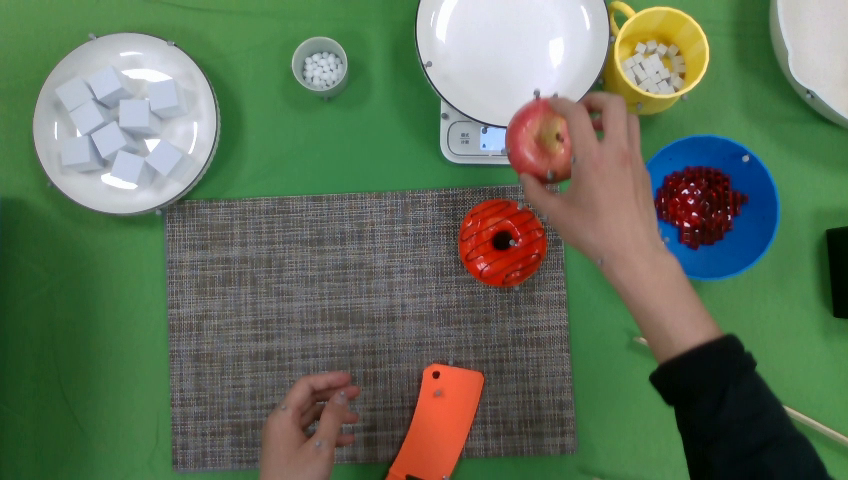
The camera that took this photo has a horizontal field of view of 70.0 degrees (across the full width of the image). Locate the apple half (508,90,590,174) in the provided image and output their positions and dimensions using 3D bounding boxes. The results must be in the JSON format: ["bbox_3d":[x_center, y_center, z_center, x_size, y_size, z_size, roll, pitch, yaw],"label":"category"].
[{"bbox_3d":[0.122,-0.106,0.559,0.053,0.075,0.080,-44,87,5],"label":"apple half"}]

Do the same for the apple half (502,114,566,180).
[{"bbox_3d":[0.095,-0.079,0.564,0.033,0.081,0.081,-44,87,5],"label":"apple half"}]

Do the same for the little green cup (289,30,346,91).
[{"bbox_3d":[-0.117,-0.200,0.684,0.061,0.038,0.061,0,87,1],"label":"little green cup"}]

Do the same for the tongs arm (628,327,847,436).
[{"bbox_3d":[0.400,0.189,0.663,0.387,0.028,0.028,27,80,2],"label":"tongs arm"}]

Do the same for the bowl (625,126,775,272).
[{"bbox_3d":[0.283,-0.040,0.653,0.151,0.077,0.151,0,88,1],"label":"bowl"}]

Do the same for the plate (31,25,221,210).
[{"bbox_3d":[-0.329,-0.135,0.683,0.208,0.039,0.207,0,87,1],"label":"plate"}]

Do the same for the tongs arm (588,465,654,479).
[{"bbox_3d":[0.373,0.271,0.657,0.385,0.026,0.050,13,83,1],"label":"tongs arm"}]

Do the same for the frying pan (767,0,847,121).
[{"bbox_3d":[0.565,-0.167,0.643,0.307,0.103,0.485,-30,79,0],"label":"frying pan"}]

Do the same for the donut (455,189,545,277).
[{"bbox_3d":[0.083,-0.007,0.666,0.099,0.048,0.099,0,88,3],"label":"donut"}]

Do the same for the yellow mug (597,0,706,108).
[{"bbox_3d":[0.239,-0.216,0.667,0.100,0.064,0.130,-36,86,0],"label":"yellow mug"}]

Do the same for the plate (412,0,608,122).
[{"bbox_3d":[0.090,-0.228,0.654,0.209,0.038,0.208,0,87,0],"label":"plate"}]

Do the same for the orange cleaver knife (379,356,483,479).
[{"bbox_3d":[-0.003,0.225,0.666,0.077,0.012,0.211,26,85,-4],"label":"orange cleaver knife"}]

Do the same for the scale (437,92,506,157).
[{"bbox_3d":[0.091,-0.195,0.685,0.149,0.031,0.200,1,87,1],"label":"scale"}]
